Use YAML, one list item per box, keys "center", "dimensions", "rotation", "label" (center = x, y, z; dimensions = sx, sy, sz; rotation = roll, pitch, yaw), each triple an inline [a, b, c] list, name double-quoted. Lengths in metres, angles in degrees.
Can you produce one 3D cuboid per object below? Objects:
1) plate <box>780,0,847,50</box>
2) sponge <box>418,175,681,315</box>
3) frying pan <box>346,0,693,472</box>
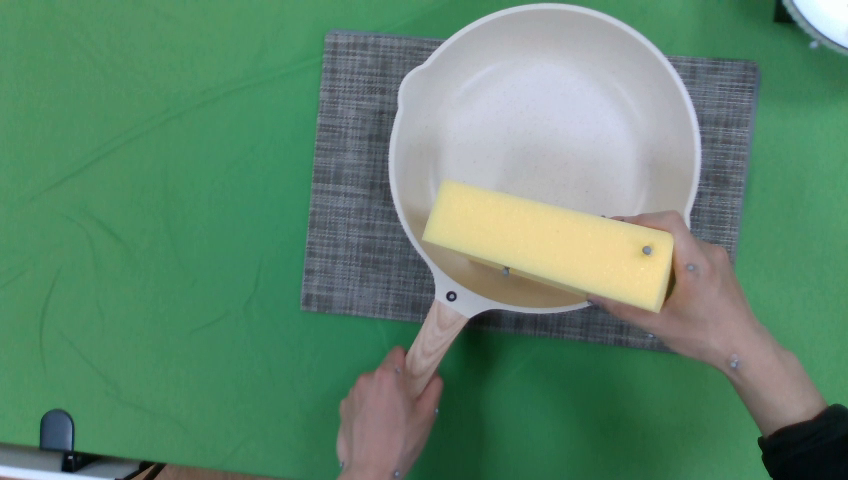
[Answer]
- center: [0.409, -0.269, 0.543]
  dimensions: [0.207, 0.039, 0.207]
  rotation: [0, 92, 3]
  label: "plate"
- center: [0.114, 0.005, 0.544]
  dimensions: [0.205, 0.119, 0.061]
  rotation: [16, 87, 29]
  label: "sponge"
- center: [0.054, 0.008, 0.595]
  dimensions: [0.306, 0.103, 0.487]
  rotation: [31, 86, 4]
  label: "frying pan"
